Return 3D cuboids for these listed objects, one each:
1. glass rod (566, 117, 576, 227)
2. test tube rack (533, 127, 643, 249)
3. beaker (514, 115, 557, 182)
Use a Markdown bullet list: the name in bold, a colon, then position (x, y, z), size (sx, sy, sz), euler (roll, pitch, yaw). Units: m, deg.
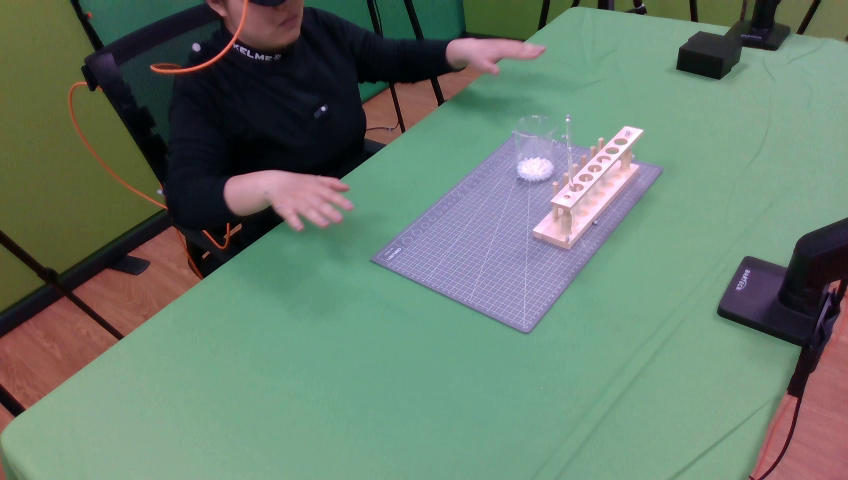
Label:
- **glass rod**: position (0.218, -0.094, 0.895), size (0.008, 0.201, 0.008), euler (-8, 41, 8)
- **test tube rack**: position (0.271, -0.095, 0.990), size (0.066, 0.085, 0.243), euler (23, 50, 33)
- **beaker**: position (0.199, -0.161, 1.071), size (0.073, 0.101, 0.084), euler (8, 42, 19)
